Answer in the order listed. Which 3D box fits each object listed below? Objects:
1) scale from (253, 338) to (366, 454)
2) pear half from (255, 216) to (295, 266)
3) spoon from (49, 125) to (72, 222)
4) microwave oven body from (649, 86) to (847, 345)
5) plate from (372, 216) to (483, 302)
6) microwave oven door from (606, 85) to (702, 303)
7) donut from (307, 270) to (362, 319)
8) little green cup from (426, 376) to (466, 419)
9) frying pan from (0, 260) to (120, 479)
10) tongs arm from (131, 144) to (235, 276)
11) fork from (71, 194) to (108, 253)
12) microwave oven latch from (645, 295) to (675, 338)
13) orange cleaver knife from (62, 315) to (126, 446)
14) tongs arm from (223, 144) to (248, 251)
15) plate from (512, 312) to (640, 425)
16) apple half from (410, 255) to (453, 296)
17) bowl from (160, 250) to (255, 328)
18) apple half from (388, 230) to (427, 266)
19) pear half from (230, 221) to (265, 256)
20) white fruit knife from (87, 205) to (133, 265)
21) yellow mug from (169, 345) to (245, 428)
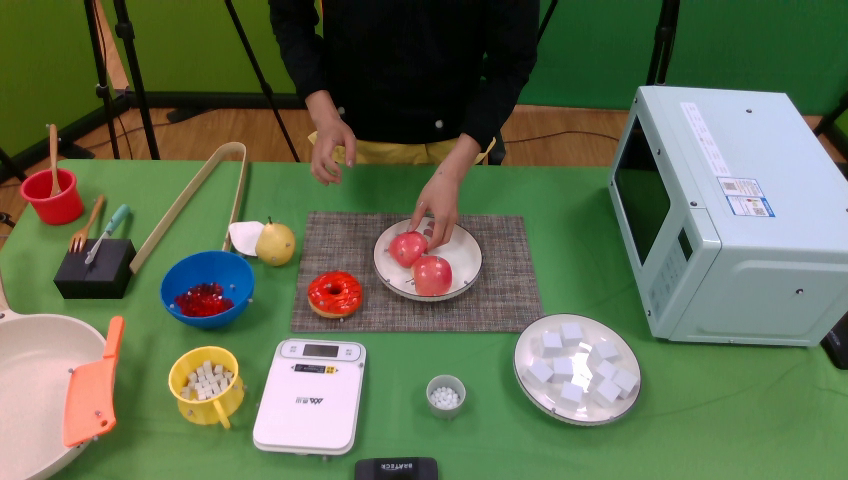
[{"bbox_3d":[-0.175,0.236,0.951,0.149,0.032,0.199,4,45,-1],"label":"scale"},{"bbox_3d":[-0.270,0.001,1.118,0.056,0.110,0.076,25,53,18],"label":"pear half"},{"bbox_3d":[-0.718,-0.131,1.189,0.041,0.021,0.193,-4,90,-6],"label":"spoon"},{"bbox_3d":[0.567,-0.053,1.118,0.326,0.261,0.439,2,45,-1],"label":"microwave oven body"},{"bbox_3d":[0.006,0.038,1.145,0.209,0.038,0.208,2,46,-2],"label":"plate"},{"bbox_3d":[0.423,-0.094,1.140,0.039,0.245,0.353,2,46,-1],"label":"microwave oven door"},{"bbox_3d":[-0.158,0.097,1.073,0.099,0.048,0.098,4,45,-4],"label":"donut"},{"bbox_3d":[0.033,0.248,0.950,0.061,0.039,0.061,2,46,-2],"label":"little green cup"},{"bbox_3d":[-0.647,0.164,0.936,0.307,0.103,0.485,-19,58,-22],"label":"frying pan"},{"bbox_3d":[-0.484,-0.075,1.236,0.028,0.028,0.385,5,45,14],"label":"tongs arm"},{"bbox_3d":[-0.634,-0.036,1.158,0.028,0.019,0.206,-8,32,-8],"label":"fork"},{"bbox_3d":[0.411,0.134,1.061,0.030,0.029,0.078,3,45,0],"label":"microwave oven latch"},{"bbox_3d":[-0.480,0.199,0.887,0.077,0.012,0.210,-9,47,-8],"label":"orange cleaver knife"},{"bbox_3d":[-0.398,-0.073,1.232,0.051,0.027,0.382,-4,45,1],"label":"tongs arm"},{"bbox_3d":[0.246,0.213,0.999,0.208,0.039,0.206,2,46,-2],"label":"plate"},{"bbox_3d":[0.015,0.058,1.102,0.075,0.053,0.080,-2,43,-9],"label":"apple half"},{"bbox_3d":[-0.362,0.098,1.039,0.151,0.077,0.150,2,45,-2],"label":"bowl"},{"bbox_3d":[-0.035,0.007,1.143,0.081,0.033,0.081,-15,51,19],"label":"apple half"},{"bbox_3d":[-0.333,-0.001,1.166,0.088,0.031,0.070,29,54,6],"label":"pear half"},{"bbox_3d":[-0.584,-0.013,1.129,0.016,0.027,0.206,-1,32,-4],"label":"white fruit knife"},{"bbox_3d":[-0.322,0.230,0.922,0.100,0.064,0.130,-24,53,-25],"label":"yellow mug"}]
